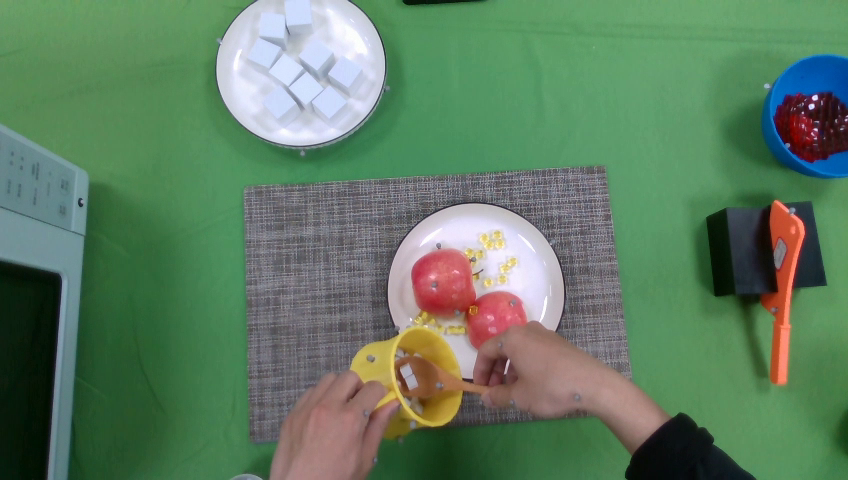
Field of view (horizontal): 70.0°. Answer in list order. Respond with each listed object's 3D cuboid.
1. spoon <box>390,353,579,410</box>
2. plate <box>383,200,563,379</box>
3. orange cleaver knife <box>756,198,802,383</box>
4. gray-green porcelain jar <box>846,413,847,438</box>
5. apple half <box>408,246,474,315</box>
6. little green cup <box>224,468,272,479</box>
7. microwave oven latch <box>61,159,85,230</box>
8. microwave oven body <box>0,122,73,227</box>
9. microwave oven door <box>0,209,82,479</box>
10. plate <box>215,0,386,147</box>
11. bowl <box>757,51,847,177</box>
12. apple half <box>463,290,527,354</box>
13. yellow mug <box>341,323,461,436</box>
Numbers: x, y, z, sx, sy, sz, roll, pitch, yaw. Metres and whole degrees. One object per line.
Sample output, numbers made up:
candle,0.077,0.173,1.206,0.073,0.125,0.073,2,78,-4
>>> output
spoon,0.052,0.143,0.586,0.192,0.022,0.041,6,92,27
plate,0.056,0.057,0.711,0.209,0.038,0.208,0,82,-1
orange cleaver knife,0.404,0.059,0.700,0.012,0.077,0.212,-2,104,3
gray-green porcelain jar,0.541,0.213,0.656,0.106,0.127,0.105,0,80,-1
apple half,0.019,0.045,0.697,0.075,0.053,0.080,-6,82,0
little green cup,-0.196,0.284,0.673,0.061,0.039,0.061,0,82,-3
microwave oven latch,-0.414,-0.052,0.703,0.030,0.029,0.079,1,82,-2
microwave oven body,-0.559,0.107,0.577,0.326,0.261,0.440,-1,81,-2
microwave oven door,-0.413,0.147,0.569,0.039,0.244,0.354,-1,81,-1
plate,-0.150,-0.213,0.754,0.208,0.039,0.207,0,81,-1
bowl,0.468,-0.142,0.736,0.151,0.077,0.151,0,81,-1
apple half,0.083,0.095,0.700,0.081,0.033,0.081,0,78,0
yellow mug,-0.029,0.144,0.597,0.064,0.131,0.100,-28,86,39
